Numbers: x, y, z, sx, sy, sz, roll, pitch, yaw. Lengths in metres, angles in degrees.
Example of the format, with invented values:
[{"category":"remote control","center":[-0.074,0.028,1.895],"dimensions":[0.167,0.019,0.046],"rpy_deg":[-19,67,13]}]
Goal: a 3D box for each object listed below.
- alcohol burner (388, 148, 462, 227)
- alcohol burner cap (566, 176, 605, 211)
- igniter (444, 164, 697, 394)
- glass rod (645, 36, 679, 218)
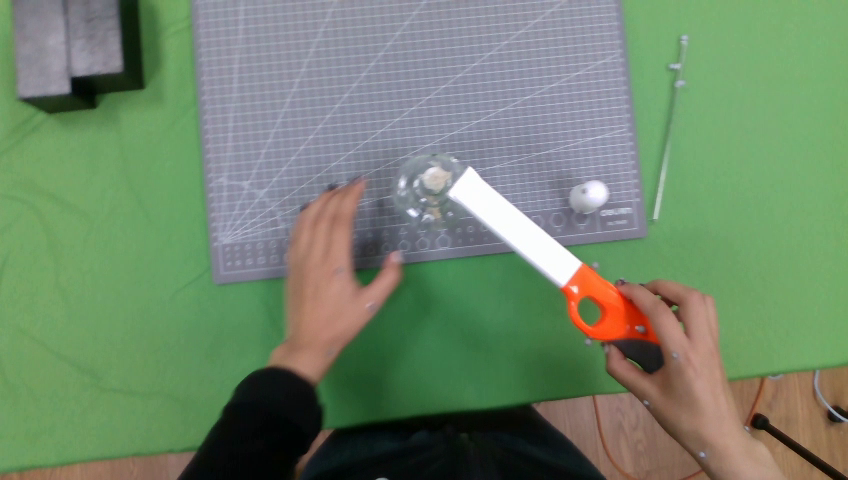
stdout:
[{"category":"alcohol burner","center":[0.004,-0.053,0.573],"dimensions":[0.078,0.119,0.077],"rpy_deg":[0,84,-3]},{"category":"alcohol burner cap","center":[0.166,-0.048,0.617],"dimensions":[0.034,0.048,0.034],"rpy_deg":[0,85,-2]},{"category":"igniter","center":[0.131,0.035,0.523],"dimensions":[0.277,0.025,0.057],"rpy_deg":[40,85,-4]},{"category":"glass rod","center":[0.253,-0.122,0.645],"dimensions":[0.008,0.008,0.199],"rpy_deg":[10,87,-2]}]
